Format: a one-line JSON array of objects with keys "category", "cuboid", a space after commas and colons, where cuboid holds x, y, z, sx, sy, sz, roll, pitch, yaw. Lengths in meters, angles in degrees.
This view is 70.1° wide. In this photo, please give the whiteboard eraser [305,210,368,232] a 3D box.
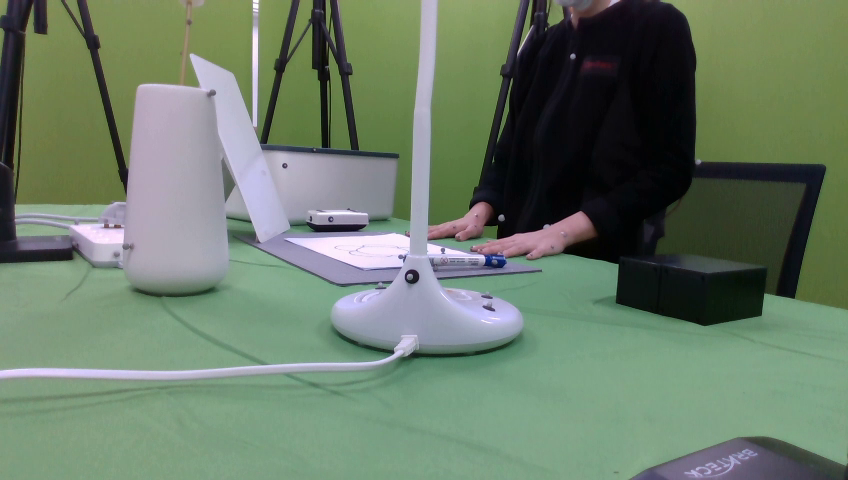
[{"category": "whiteboard eraser", "cuboid": [-0.168, -0.038, 1.172, 0.113, 0.042, 0.055, -3, 8, -35]}]

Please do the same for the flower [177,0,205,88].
[{"category": "flower", "cuboid": [-0.243, -0.131, 0.609, 0.044, 0.361, 0.038, -5, -12, 11]}]

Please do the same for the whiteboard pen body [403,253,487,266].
[{"category": "whiteboard pen body", "cuboid": [0.040, 0.026, 0.785, 0.141, 0.017, 0.017, 1, 7, -24]}]

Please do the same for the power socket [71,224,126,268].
[{"category": "power socket", "cuboid": [-0.409, 0.004, 0.793, 0.072, 0.032, 0.225, -2, 8, -37]}]

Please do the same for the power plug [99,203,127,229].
[{"category": "power plug", "cuboid": [-0.415, -0.026, 0.848, 0.073, 0.052, 0.035, 6, 5, -28]}]

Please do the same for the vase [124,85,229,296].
[{"category": "vase", "cuboid": [-0.244, -0.047, 0.598, 0.098, 0.200, 0.098, 3, 8, 0]}]

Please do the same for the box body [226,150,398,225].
[{"category": "box body", "cuboid": [-0.265, -0.129, 1.380, 0.253, 0.160, 0.366, 8, 9, 39]}]

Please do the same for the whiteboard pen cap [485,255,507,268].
[{"category": "whiteboard pen cap", "cuboid": [0.093, 0.028, 0.810, 0.033, 0.018, 0.018, 2, 7, -24]}]

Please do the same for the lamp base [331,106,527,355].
[{"category": "lamp base", "cuboid": [0.006, -0.012, 0.478, 0.161, 0.180, 0.179, 2, 10, 2]}]

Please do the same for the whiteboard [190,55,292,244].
[{"category": "whiteboard", "cuboid": [-0.363, -0.129, 1.028, 0.144, 0.305, 0.217, -18, 7, 3]}]

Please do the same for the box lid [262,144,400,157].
[{"category": "box lid", "cuboid": [-0.263, -0.203, 1.369, 0.262, 0.015, 0.373, 9, 10, 39]}]
